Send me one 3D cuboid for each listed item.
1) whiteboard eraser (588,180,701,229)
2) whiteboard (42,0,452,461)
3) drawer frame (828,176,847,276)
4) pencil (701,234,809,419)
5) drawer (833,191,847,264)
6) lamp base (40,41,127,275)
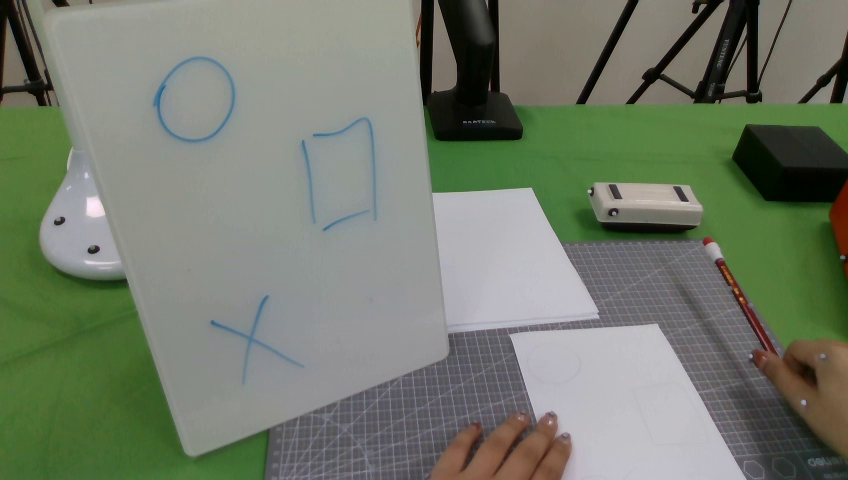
[{"bbox_3d":[0.245,-0.039,0.678,0.113,0.042,0.055,2,40,-2],"label":"whiteboard eraser"},{"bbox_3d":[-0.118,-0.031,0.472,0.218,0.307,0.142,-16,25,-22],"label":"whiteboard"},{"bbox_3d":[0.532,0.028,0.591,0.201,0.083,0.212,13,40,12],"label":"drawer frame"},{"bbox_3d":[0.285,0.067,0.529,0.012,0.012,0.192,-2,47,-7],"label":"pencil"},{"bbox_3d":[0.532,0.031,0.590,0.194,0.074,0.210,14,40,13],"label":"drawer"},{"bbox_3d":[-0.305,-0.085,0.571,0.178,0.182,0.160,25,44,26],"label":"lamp base"}]
